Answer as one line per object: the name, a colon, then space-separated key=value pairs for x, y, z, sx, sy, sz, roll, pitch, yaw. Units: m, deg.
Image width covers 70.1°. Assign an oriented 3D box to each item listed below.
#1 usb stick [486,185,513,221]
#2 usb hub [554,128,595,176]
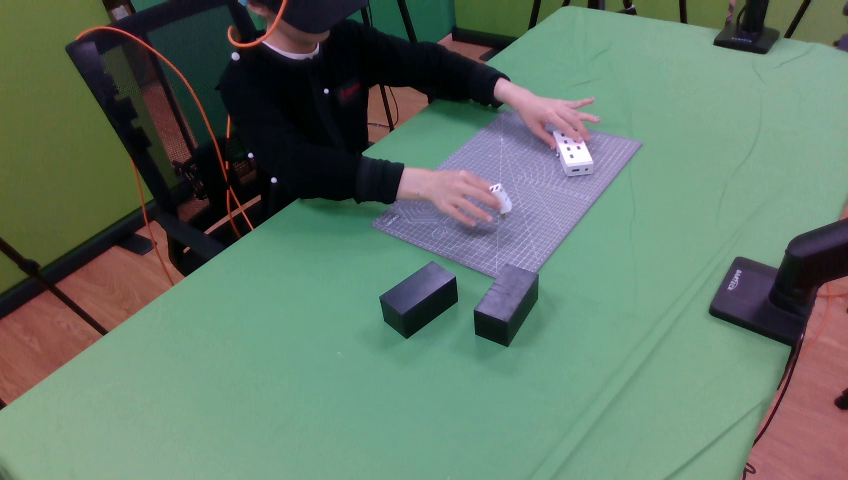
usb stick: x=0.124 y=-0.058 z=0.973 sx=0.027 sy=0.059 sz=0.021 roll=-16 pitch=31 yaw=26
usb hub: x=0.278 y=-0.163 z=1.119 sx=0.049 sy=0.025 sz=0.124 roll=-6 pitch=41 yaw=2
